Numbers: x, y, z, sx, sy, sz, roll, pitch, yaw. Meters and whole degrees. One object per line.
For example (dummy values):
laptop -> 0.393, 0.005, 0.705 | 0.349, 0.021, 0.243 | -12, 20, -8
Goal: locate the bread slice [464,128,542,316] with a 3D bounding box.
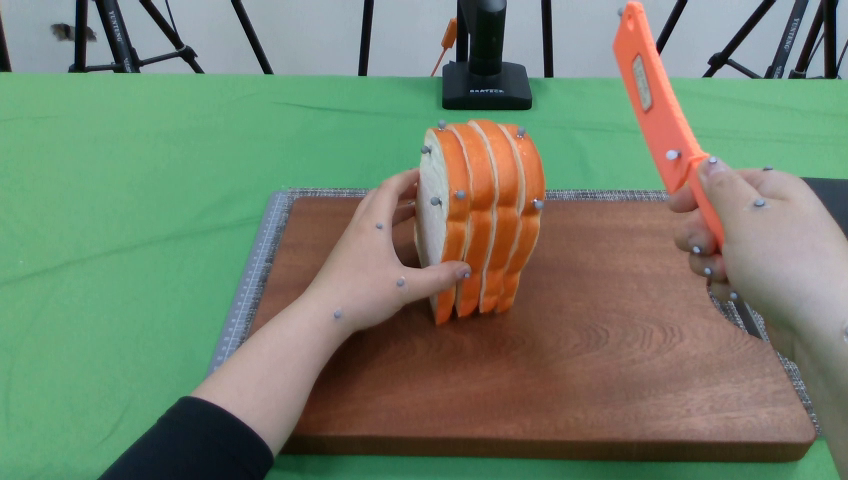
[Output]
bread slice -> 0.061, -0.020, 0.481 | 0.019, 0.132, 0.103 | -1, 42, -15

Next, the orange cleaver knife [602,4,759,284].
orange cleaver knife -> 0.151, -0.060, 0.381 | 0.012, 0.078, 0.209 | -12, 61, 0

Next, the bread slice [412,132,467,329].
bread slice -> 0.010, -0.016, 0.476 | 0.018, 0.135, 0.106 | -4, 37, -12
